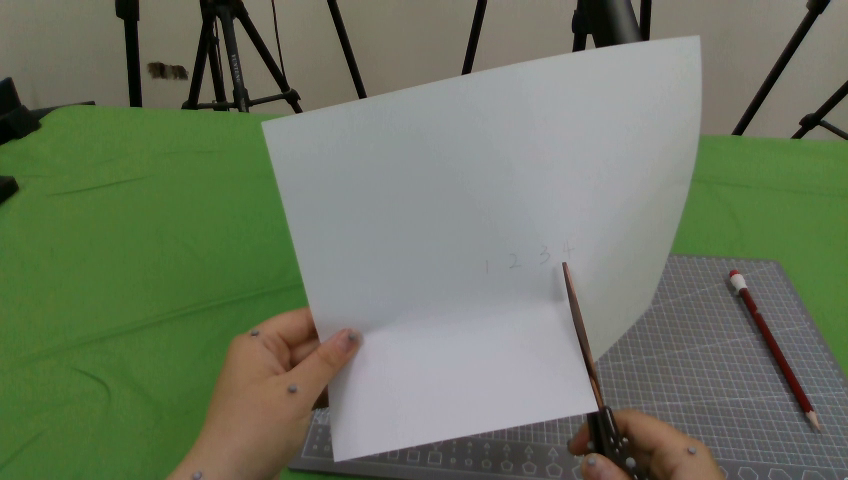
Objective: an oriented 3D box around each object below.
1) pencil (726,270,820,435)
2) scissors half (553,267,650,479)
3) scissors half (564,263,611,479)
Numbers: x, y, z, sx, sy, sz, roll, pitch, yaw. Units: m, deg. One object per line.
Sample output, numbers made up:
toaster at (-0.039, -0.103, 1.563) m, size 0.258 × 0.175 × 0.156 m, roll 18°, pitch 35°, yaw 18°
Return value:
pencil at (0.309, 0.092, 0.544) m, size 0.012 × 0.012 × 0.192 m, roll 2°, pitch 38°, yaw 1°
scissors half at (0.101, 0.094, 0.343) m, size 0.013 × 0.040 × 0.173 m, roll -12°, pitch 66°, yaw -8°
scissors half at (0.099, 0.099, 0.365) m, size 0.013 × 0.175 × 0.040 m, roll -11°, pitch 7°, yaw -13°
